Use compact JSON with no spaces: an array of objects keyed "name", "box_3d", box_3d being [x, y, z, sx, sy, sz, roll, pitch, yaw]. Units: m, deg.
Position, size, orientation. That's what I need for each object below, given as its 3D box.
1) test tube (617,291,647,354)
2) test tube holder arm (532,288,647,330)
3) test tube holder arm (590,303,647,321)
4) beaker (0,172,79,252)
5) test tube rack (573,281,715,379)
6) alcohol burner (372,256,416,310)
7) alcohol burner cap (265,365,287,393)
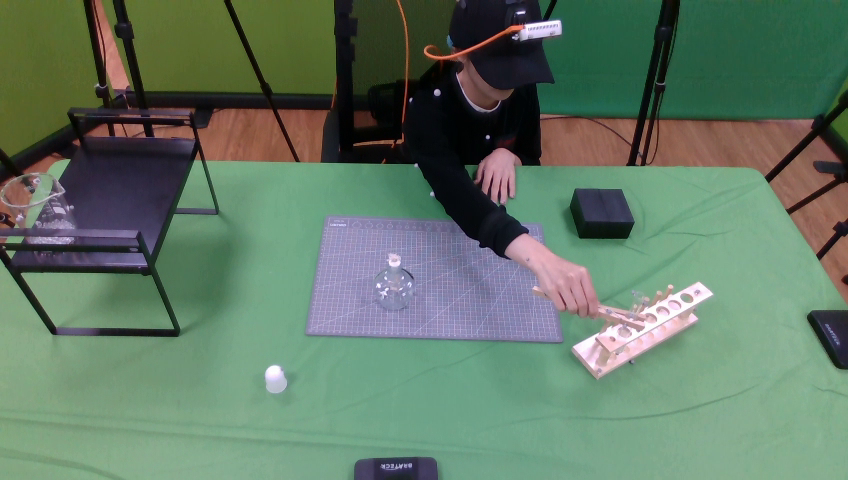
[{"name":"test tube","box_3d":[0.324,0.133,0.952,0.017,0.151,0.017,0,45,1]},{"name":"test tube holder arm","box_3d":[0.258,0.107,0.952,0.178,0.015,0.013,16,40,11]},{"name":"test tube holder arm","box_3d":[0.303,0.115,0.949,0.088,0.015,0.010,12,40,6]},{"name":"beaker","box_3d":[-0.557,-0.038,0.889,0.084,0.101,0.073,-3,47,-8]},{"name":"test tube rack","box_3d":[0.378,0.140,1.038,0.242,0.085,0.066,-22,51,-23]},{"name":"alcohol burner","box_3d":[-0.052,0.068,1.057,0.078,0.120,0.077,1,48,-1]},{"name":"alcohol burner cap","box_3d":[-0.236,0.216,0.956,0.034,0.048,0.033,3,45,-3]}]
